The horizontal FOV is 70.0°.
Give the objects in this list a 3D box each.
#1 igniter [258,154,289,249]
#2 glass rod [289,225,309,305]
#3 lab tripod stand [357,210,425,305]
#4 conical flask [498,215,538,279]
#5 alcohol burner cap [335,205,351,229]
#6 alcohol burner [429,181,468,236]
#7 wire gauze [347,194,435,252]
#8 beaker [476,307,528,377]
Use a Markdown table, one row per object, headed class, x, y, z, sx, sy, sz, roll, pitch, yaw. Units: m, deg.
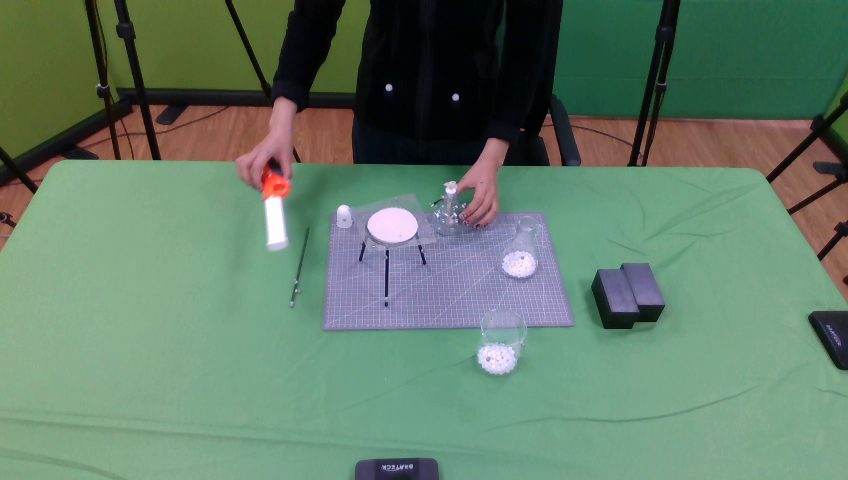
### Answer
| class | x | y | z | sx | sy | sz | roll | pitch | yaw |
| --- | --- | --- | --- | --- | --- | --- | --- | --- | --- |
| igniter | -0.280 | -0.081 | 1.132 | 0.057 | 0.025 | 0.274 | -10 | 42 | -9 |
| glass rod | -0.236 | 0.043 | 1.149 | 0.008 | 0.008 | 0.198 | 3 | 46 | -1 |
| lab tripod stand | -0.060 | 0.020 | 1.094 | 0.148 | 0.132 | 0.147 | 3 | 44 | -2 |
| conical flask | 0.183 | 0.010 | 1.131 | 0.075 | 0.122 | 0.075 | 2 | 46 | -2 |
| alcohol burner cap | -0.164 | -0.049 | 1.216 | 0.034 | 0.048 | 0.033 | 2 | 45 | -1 |
| alcohol burner | 0.049 | -0.067 | 1.201 | 0.078 | 0.120 | 0.077 | 1 | 46 | -1 |
| wire gauze | -0.058 | -0.029 | 1.048 | 0.125 | 0.011 | 0.120 | -12 | 48 | -16 |
| beaker | 0.122 | 0.171 | 0.991 | 0.084 | 0.101 | 0.073 | -34 | 56 | -30 |
